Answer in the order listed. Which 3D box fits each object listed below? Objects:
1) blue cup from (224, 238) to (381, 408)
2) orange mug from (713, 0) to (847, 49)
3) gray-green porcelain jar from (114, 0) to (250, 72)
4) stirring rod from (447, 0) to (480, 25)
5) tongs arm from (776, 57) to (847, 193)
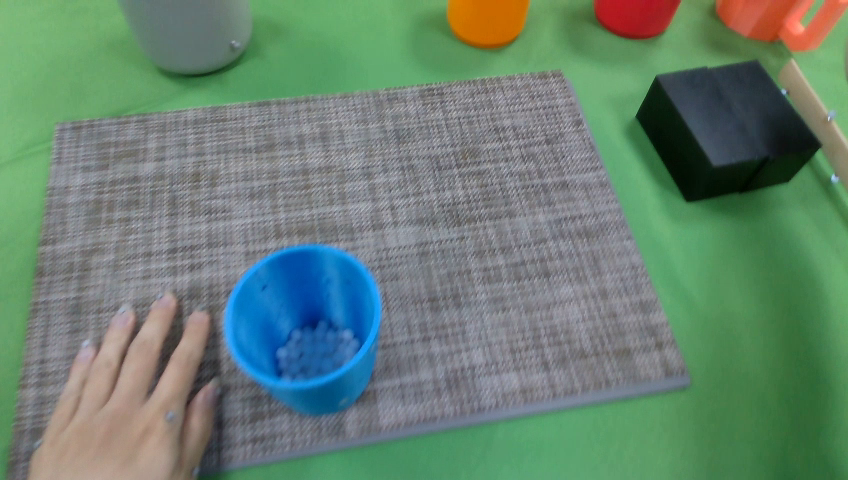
[{"bbox_3d":[-0.067,0.061,0.374,0.093,0.101,0.092,1,59,-1],"label":"blue cup"},{"bbox_3d":[0.355,-0.252,0.590,0.083,0.101,0.125,-14,57,-12],"label":"orange mug"},{"bbox_3d":[-0.209,-0.218,0.515,0.106,0.127,0.105,2,60,-2],"label":"gray-green porcelain jar"},{"bbox_3d":[0.087,-0.265,0.556,0.176,0.006,0.014,-40,65,23],"label":"stirring rod"},{"bbox_3d":[0.392,-0.002,0.485,0.051,0.027,0.381,-5,61,-11],"label":"tongs arm"}]
